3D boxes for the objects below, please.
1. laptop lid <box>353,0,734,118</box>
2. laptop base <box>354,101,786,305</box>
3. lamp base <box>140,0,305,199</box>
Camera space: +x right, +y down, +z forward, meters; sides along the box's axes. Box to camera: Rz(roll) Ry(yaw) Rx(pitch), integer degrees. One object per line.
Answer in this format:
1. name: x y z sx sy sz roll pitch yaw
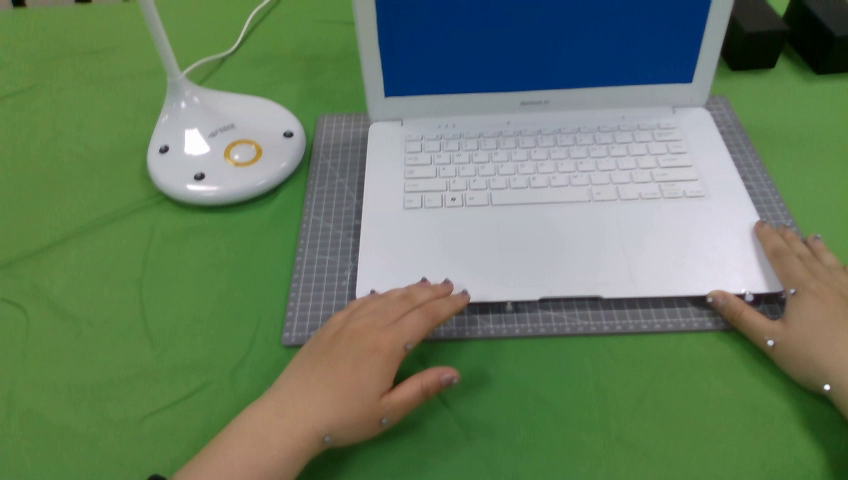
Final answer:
1. laptop lid: 0.111 -0.220 0.560 0.357 0.244 0.013 -3 42 2
2. laptop base: 0.117 -0.041 0.566 0.354 0.023 0.233 -2 53 1
3. lamp base: -0.218 -0.156 0.576 0.177 0.182 0.160 29 57 28
